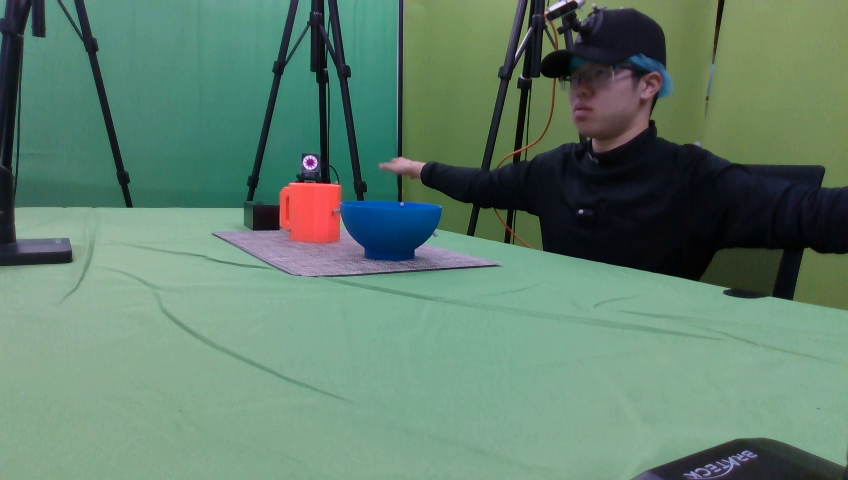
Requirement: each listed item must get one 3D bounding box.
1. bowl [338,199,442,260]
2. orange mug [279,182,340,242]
[{"bbox_3d":[-0.050,-0.015,0.878,0.151,0.077,0.151,2,8,0],"label":"bowl"},{"bbox_3d":[-0.202,-0.052,1.042,0.125,0.100,0.084,12,11,34],"label":"orange mug"}]
